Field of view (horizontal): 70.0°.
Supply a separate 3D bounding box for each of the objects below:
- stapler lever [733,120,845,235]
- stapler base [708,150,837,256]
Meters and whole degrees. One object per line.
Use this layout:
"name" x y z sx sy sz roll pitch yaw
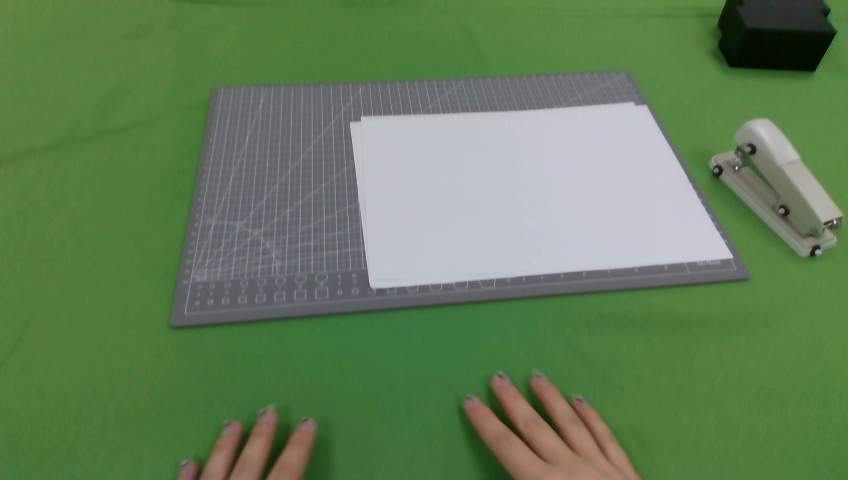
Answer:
"stapler lever" 0.313 -0.058 0.522 0.027 0.040 0.116 -17 53 -15
"stapler base" 0.311 -0.042 0.541 0.041 0.024 0.129 -17 53 -15
